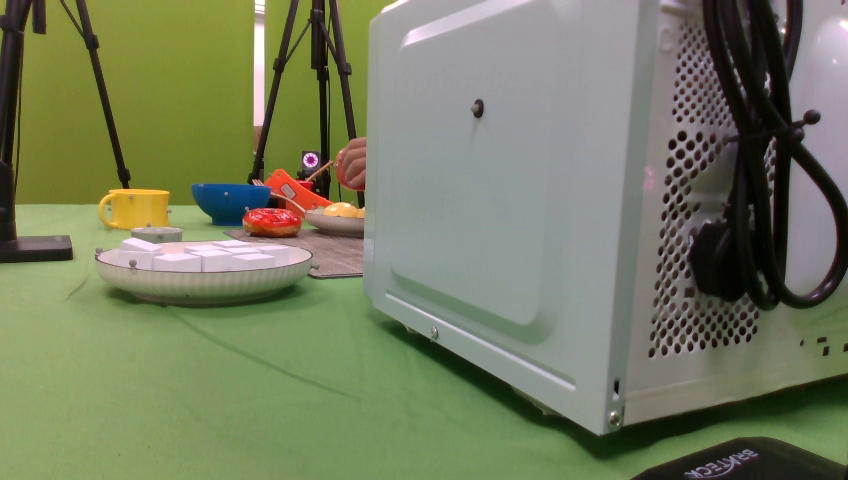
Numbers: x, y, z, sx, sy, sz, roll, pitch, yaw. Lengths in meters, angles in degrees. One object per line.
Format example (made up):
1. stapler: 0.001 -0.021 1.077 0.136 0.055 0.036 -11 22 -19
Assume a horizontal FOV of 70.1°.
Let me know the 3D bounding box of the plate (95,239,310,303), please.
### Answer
1. plate: -0.224 0.031 0.629 0.208 0.039 0.207 2 7 0

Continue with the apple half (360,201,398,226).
1. apple half: -0.087 -0.059 1.190 0.081 0.033 0.081 10 30 -5

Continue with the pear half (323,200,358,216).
1. pear half: -0.155 -0.059 1.197 0.088 0.031 0.070 15 32 -4

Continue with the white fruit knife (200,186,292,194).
1. white fruit knife: -0.399 -0.111 1.368 0.208 0.016 0.027 -4 -19 -30

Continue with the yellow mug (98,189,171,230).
1. yellow mug: -0.519 -0.055 1.081 0.099 0.064 0.131 7 10 26

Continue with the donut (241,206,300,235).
1. donut: -0.263 -0.032 1.039 0.099 0.048 0.099 4 10 0

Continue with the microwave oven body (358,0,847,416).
1. microwave oven body: 0.211 -0.047 0.474 0.444 0.260 0.324 -1 7 -28

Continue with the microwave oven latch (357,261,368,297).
1. microwave oven latch: -0.019 0.033 0.531 0.079 0.029 0.030 -1 7 -27

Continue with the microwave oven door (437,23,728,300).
1. microwave oven door: 0.180 -0.072 0.621 0.358 0.243 0.039 -2 8 -29

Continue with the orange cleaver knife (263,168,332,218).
1. orange cleaver knife: -0.262 -0.088 1.353 0.211 0.077 0.012 28 13 -1

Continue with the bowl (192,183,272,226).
1. bowl: -0.381 -0.071 1.202 0.151 0.077 0.151 3 7 0

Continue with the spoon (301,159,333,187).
1. spoon: -0.316 -0.159 1.639 0.194 0.022 0.041 -49 32 -20

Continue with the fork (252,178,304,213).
1. fork: -0.295 -0.084 1.292 0.206 0.018 0.028 29 10 25

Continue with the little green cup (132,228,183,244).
1. little green cup: -0.342 0.006 0.779 0.061 0.038 0.061 2 8 0

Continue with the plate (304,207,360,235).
1. plate: -0.123 -0.037 1.149 0.209 0.038 0.209 2 7 0

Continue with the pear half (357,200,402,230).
1. pear half: -0.075 -0.047 1.133 0.076 0.056 0.110 12 8 31

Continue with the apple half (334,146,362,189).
1. apple half: -0.107 -0.122 1.031 0.081 0.074 0.053 -1 16 -44
